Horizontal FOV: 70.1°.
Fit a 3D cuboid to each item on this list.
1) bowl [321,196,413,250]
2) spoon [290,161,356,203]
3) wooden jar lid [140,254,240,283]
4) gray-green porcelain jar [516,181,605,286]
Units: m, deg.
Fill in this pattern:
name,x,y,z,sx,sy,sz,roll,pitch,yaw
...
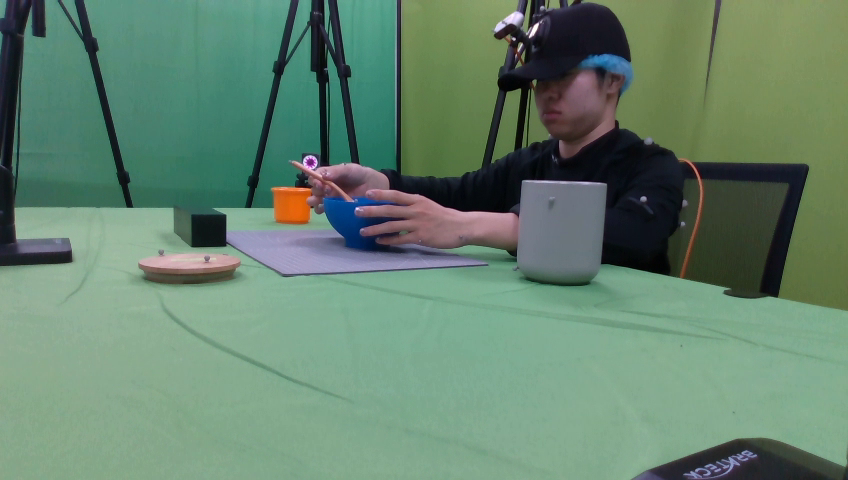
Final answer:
name,x,y,z,sx,sy,sz,roll,pitch,yaw
bowl,-0.094,-0.028,0.991,0.151,0.077,0.151,3,8,0
spoon,-0.151,-0.085,1.020,0.193,0.021,0.042,37,26,14
wooden jar lid,-0.269,0.032,0.698,0.108,0.020,0.108,2,5,0
gray-green porcelain jar,0.172,-0.010,0.768,0.106,0.126,0.106,2,7,0
